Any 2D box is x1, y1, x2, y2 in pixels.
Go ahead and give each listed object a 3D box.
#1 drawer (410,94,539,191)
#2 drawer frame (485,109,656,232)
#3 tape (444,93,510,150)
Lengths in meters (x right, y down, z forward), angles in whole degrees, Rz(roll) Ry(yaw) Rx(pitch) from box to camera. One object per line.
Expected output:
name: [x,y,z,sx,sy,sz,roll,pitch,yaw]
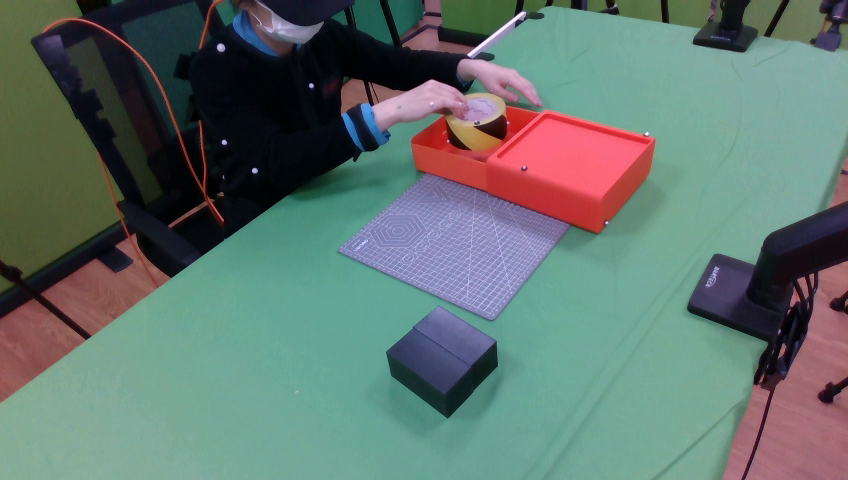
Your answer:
drawer: [0.116,-0.180,1.118,0.210,0.073,0.195,22,48,31]
drawer frame: [0.247,-0.126,1.029,0.212,0.083,0.202,24,49,30]
tape: [0.094,-0.213,1.084,0.117,0.053,0.116,-7,42,7]
